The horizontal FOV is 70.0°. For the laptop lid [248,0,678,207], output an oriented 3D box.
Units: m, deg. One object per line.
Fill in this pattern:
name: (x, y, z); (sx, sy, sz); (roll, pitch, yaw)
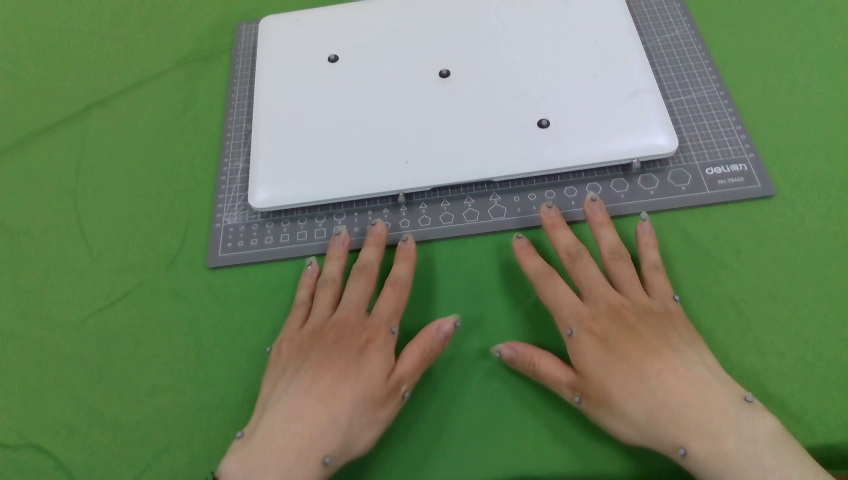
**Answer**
laptop lid: (0.020, -0.148, 0.541); (0.357, 0.013, 0.239); (-6, 61, 3)

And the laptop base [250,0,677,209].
laptop base: (0.021, -0.143, 0.552); (0.354, 0.023, 0.233); (-7, 62, 2)
